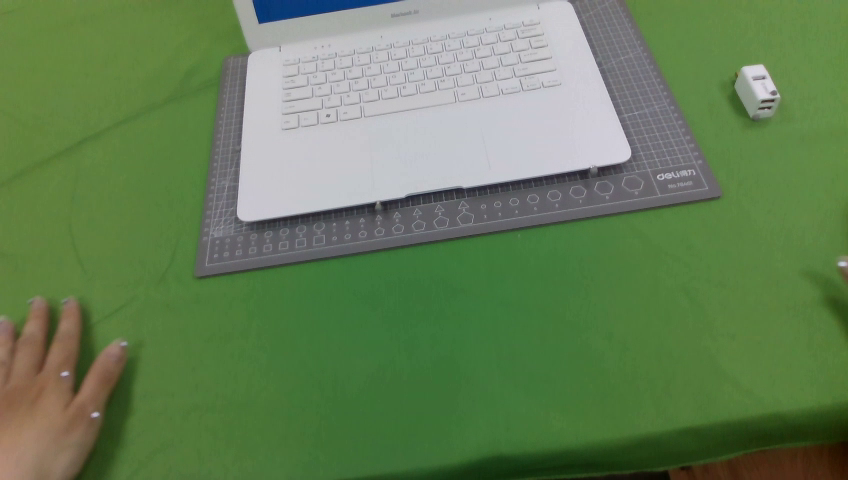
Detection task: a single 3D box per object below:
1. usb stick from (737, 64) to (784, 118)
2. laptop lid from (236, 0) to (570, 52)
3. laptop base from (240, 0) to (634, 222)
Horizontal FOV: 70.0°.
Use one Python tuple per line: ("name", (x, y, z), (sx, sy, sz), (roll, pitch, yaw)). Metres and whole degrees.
("usb stick", (0.306, -0.142, 0.557), (0.021, 0.027, 0.058), (-7, 51, 4))
("laptop lid", (-0.030, -0.321, 0.594), (0.357, 0.244, 0.013), (-10, 37, 2))
("laptop base", (-0.001, -0.133, 0.598), (0.354, 0.023, 0.233), (-9, 58, 2))
